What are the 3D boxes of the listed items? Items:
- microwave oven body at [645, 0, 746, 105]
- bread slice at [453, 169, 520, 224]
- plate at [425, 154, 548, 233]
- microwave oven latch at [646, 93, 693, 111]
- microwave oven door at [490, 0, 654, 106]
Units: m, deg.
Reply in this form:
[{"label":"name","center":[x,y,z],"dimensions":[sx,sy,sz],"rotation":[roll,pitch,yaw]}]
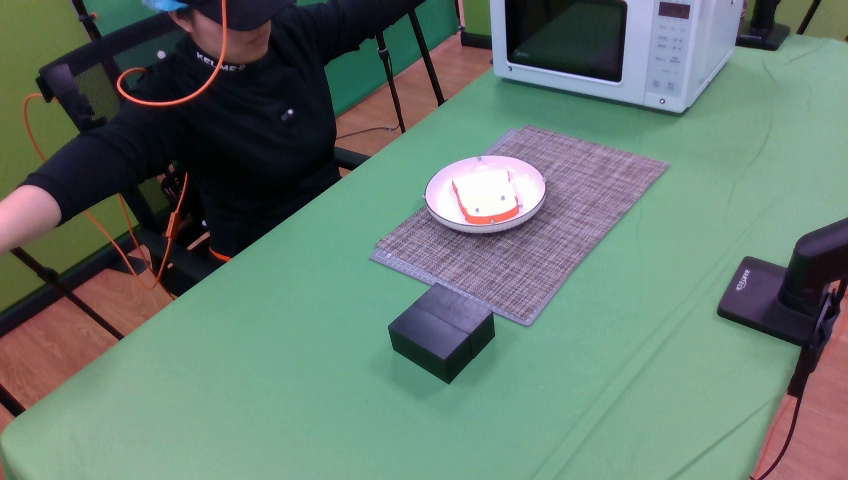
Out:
[{"label":"microwave oven body","center":[0.417,-0.486,1.290],"dimensions":[0.438,0.261,0.327],"rotation":[22,50,33]},{"label":"bread slice","center":[0.112,-0.076,1.040],"dimensions":[0.105,0.019,0.130],"rotation":[-11,40,-1]},{"label":"plate","center":[0.108,-0.076,1.038],"dimensions":[0.209,0.038,0.208],"rotation":[-5,39,5]},{"label":"microwave oven latch","center":[0.477,-0.273,1.177],"dimensions":[0.078,0.029,0.030],"rotation":[22,50,33]},{"label":"microwave oven door","center":[0.293,-0.420,1.228],"dimensions":[0.353,0.245,0.039],"rotation":[22,49,32]}]
